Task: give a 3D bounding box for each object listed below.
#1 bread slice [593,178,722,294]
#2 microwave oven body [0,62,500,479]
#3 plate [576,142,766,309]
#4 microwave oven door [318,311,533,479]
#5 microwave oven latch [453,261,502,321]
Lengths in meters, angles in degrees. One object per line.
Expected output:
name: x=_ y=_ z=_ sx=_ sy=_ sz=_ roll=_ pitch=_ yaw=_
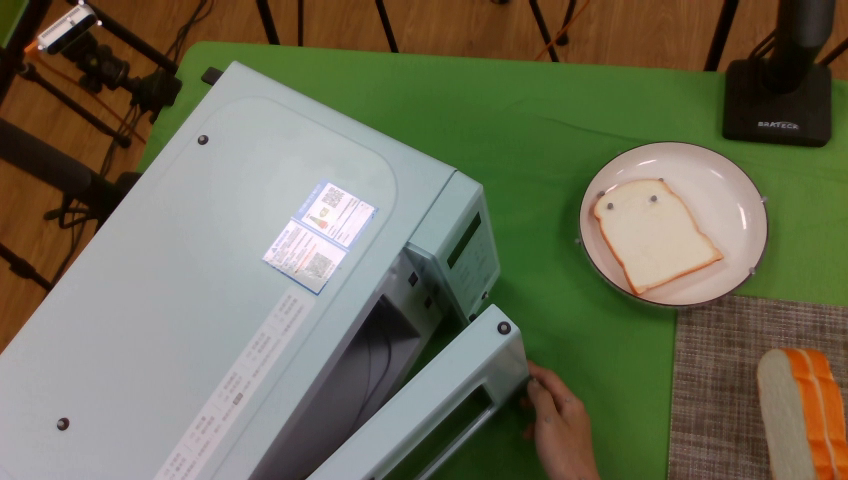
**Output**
bread slice: x=0.263 y=-0.010 z=0.715 sx=0.107 sy=0.018 sz=0.133 roll=-26 pitch=65 yaw=-3
microwave oven body: x=-0.173 y=0.099 z=0.638 sx=0.324 sy=0.262 sz=0.440 roll=28 pitch=78 yaw=20
plate: x=0.286 y=-0.016 z=0.715 sx=0.207 sy=0.039 sz=0.206 roll=-4 pitch=68 yaw=10
microwave oven door: x=-0.042 y=0.221 z=0.558 sx=0.355 sy=0.246 sz=0.039 roll=-43 pitch=66 yaw=-7
microwave oven latch: x=0.062 y=0.054 z=0.713 sx=0.030 sy=0.030 sz=0.079 roll=30 pitch=78 yaw=20
